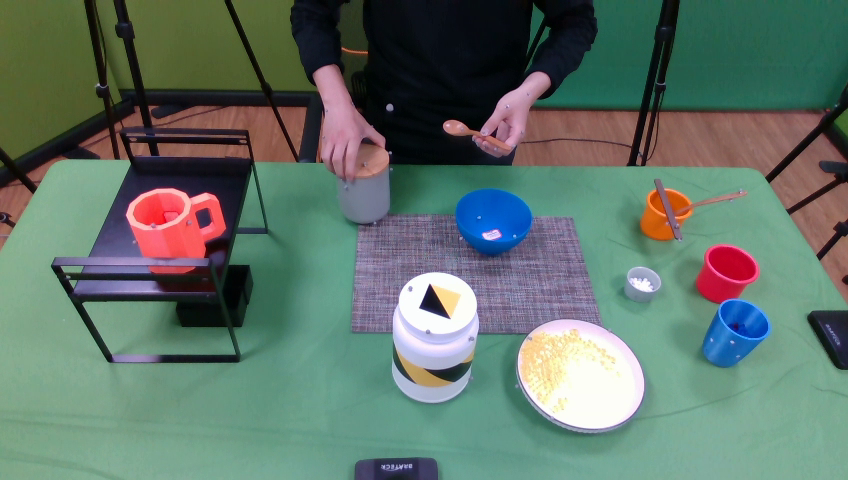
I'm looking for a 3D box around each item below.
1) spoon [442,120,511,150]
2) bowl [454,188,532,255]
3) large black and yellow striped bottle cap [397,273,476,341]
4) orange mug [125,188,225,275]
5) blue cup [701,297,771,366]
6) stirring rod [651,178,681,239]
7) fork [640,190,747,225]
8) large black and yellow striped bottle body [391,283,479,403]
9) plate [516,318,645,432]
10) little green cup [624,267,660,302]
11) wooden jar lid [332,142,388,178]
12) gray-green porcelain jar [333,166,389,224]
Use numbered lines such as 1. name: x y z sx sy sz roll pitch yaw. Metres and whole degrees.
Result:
1. spoon: 0.092 -0.187 1.076 0.041 0.022 0.192 -23 29 -21
2. bowl: 0.131 -0.025 1.186 0.151 0.077 0.150 3 46 -2
3. large black and yellow striped bottle cap: 0.018 0.094 0.878 0.115 0.019 0.114 3 46 -3
4. orange mug: -0.357 -0.019 0.884 0.126 0.101 0.083 -29 54 -23
5. blue cup: 0.519 0.162 1.025 0.093 0.101 0.092 3 45 -3
6. stirring rod: 0.480 -0.065 1.204 0.014 0.006 0.175 3 46 -3
7. fork: 0.533 -0.064 1.211 0.207 0.019 0.028 -22 28 38
8. large black and yellow striped bottle body: 0.015 0.153 0.938 0.131 0.185 0.130 2 46 -2
9. plate: 0.253 0.221 0.992 0.209 0.038 0.208 2 46 -2
10. little green cup: 0.406 0.084 1.135 0.061 0.039 0.061 3 45 -3
11. wooden jar lid: -0.123 -0.151 1.170 0.108 0.021 0.107 1 44 -1
12. gray-green porcelain jar: -0.124 -0.105 1.212 0.106 0.127 0.105 1 43 0
